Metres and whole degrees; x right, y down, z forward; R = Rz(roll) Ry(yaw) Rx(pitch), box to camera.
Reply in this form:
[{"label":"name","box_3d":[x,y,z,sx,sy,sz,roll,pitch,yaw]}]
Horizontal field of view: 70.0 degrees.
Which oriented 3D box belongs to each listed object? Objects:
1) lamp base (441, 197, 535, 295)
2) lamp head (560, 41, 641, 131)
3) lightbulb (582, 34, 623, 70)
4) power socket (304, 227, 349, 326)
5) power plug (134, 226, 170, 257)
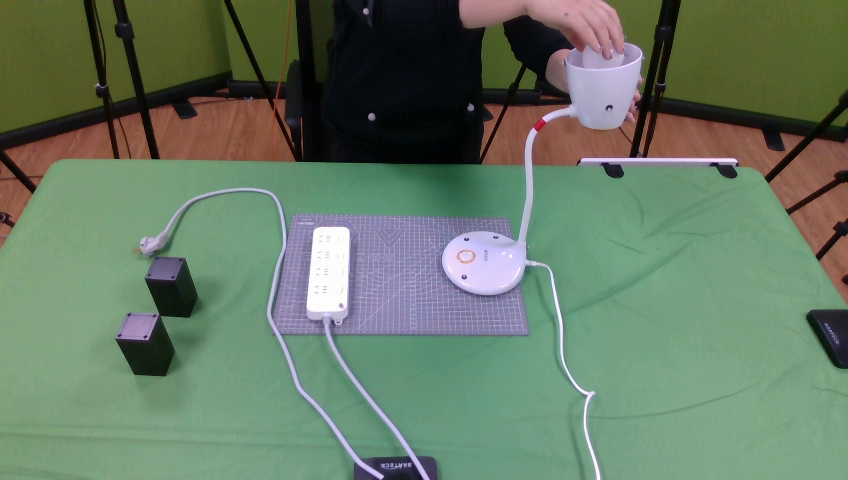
[{"label":"lamp base","box_3d":[0.130,-0.012,1.105,0.179,0.181,0.159,-1,46,-9]},{"label":"lamp head","box_3d":[0.268,-0.230,0.934,0.112,0.123,0.112,-2,37,2]},{"label":"lightbulb","box_3d":[0.271,-0.257,0.921,0.059,0.108,0.059,-8,32,5]},{"label":"power socket","box_3d":[-0.177,0.059,1.115,0.072,0.033,0.225,-1,46,-4]},{"label":"power plug","box_3d":[-0.515,0.006,1.153,0.052,0.035,0.072,-6,24,7]}]
